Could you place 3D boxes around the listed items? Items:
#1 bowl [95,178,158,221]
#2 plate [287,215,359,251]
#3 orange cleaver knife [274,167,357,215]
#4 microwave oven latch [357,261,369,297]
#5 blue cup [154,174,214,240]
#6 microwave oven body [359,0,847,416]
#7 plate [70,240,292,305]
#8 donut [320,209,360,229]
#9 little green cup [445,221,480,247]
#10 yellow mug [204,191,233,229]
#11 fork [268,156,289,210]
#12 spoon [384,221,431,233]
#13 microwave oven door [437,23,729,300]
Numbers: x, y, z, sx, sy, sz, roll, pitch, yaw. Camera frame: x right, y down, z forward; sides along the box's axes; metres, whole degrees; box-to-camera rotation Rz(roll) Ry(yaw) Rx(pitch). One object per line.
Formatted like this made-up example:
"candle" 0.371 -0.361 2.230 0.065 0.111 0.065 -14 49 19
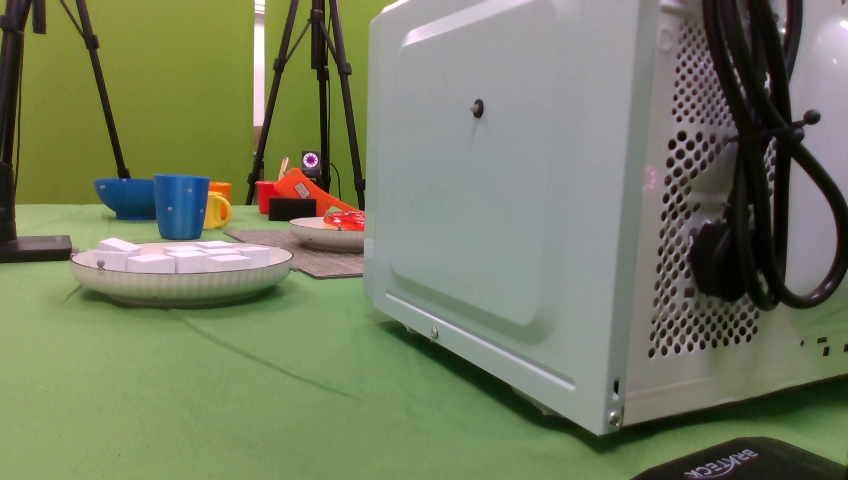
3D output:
"bowl" -0.576 -0.081 1.217 0.151 0.077 0.151 3 8 0
"plate" -0.112 -0.012 0.960 0.209 0.038 0.209 3 8 0
"orange cleaver knife" -0.238 -0.091 1.381 0.212 0.077 0.012 31 0 -19
"microwave oven latch" -0.019 0.033 0.531 0.079 0.029 0.030 -1 7 -27
"blue cup" -0.390 -0.053 0.978 0.093 0.100 0.092 3 6 0
"microwave oven body" 0.211 -0.047 0.474 0.444 0.260 0.324 -1 7 -28
"plate" -0.242 0.031 0.618 0.208 0.039 0.207 2 8 0
"donut" -0.115 -0.023 0.962 0.099 0.048 0.099 5 9 0
"little green cup" 0.065 -0.011 1.035 0.061 0.038 0.061 3 8 0
"yellow mug" -0.415 -0.057 1.132 0.130 0.064 0.100 6 8 16
"fork" -0.360 -0.144 1.508 0.028 0.018 0.207 1 49 0
"spoon" -0.024 -0.029 1.188 0.041 0.021 0.194 -12 0 23
"microwave oven door" 0.181 -0.072 0.621 0.358 0.243 0.039 -2 9 -29
